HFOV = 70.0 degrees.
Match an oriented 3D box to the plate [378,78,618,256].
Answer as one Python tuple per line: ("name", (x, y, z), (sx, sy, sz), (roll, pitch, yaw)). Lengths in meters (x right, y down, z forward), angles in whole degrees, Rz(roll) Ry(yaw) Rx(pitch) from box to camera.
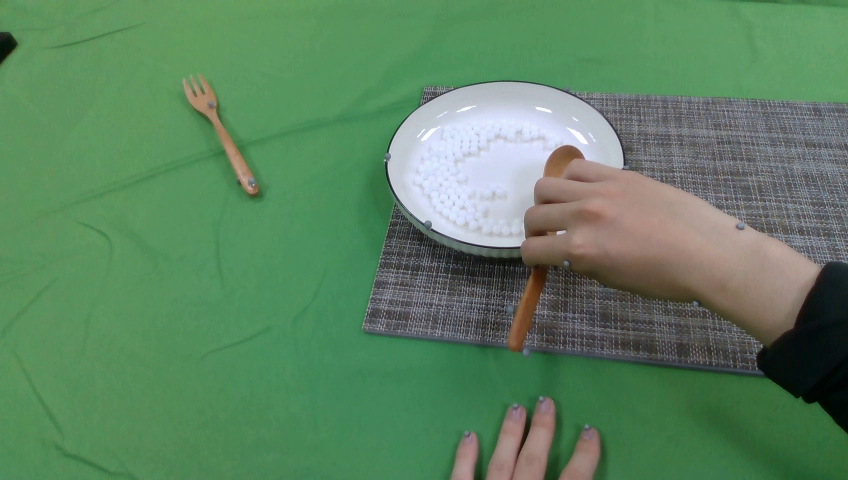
("plate", (0.064, -0.066, 0.542), (0.207, 0.039, 0.205), (-2, 52, 3))

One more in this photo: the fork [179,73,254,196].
("fork", (-0.212, -0.111, 0.617), (0.028, 0.019, 0.205), (-22, 52, -20))

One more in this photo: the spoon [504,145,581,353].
("spoon", (0.090, 0.000, 0.462), (0.042, 0.021, 0.192), (37, 52, -20))
